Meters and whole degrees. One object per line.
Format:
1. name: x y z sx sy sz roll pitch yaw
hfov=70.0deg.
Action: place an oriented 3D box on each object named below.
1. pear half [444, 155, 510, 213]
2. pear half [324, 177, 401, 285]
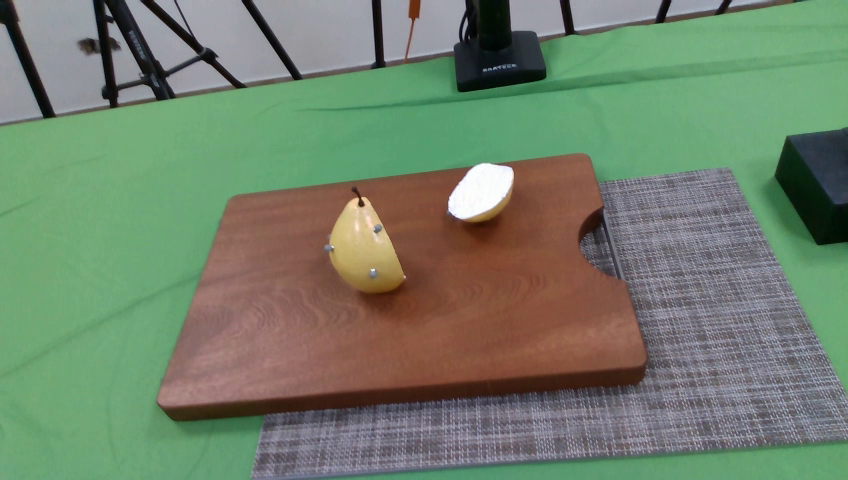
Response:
1. pear half: 0.055 -0.051 0.592 0.070 0.031 0.087 -18 29 17
2. pear half: -0.061 -0.007 0.523 0.056 0.111 0.075 -29 44 -14
